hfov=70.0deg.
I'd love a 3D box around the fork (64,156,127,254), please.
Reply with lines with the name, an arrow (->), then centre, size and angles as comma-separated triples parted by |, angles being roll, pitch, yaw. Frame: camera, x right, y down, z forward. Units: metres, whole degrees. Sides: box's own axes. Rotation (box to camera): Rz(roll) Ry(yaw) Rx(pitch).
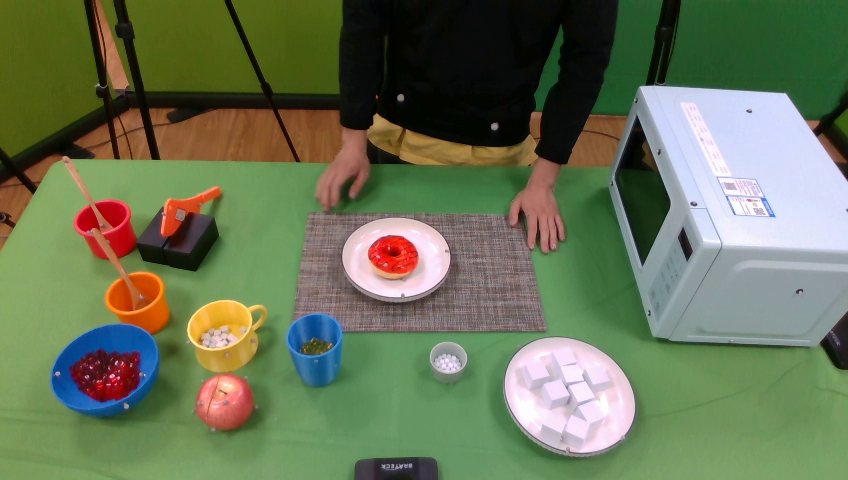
fork -> -0.614, -0.064, 1.130 | 0.028, 0.018, 0.207 | -29, 97, -16

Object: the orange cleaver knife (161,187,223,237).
orange cleaver knife -> -0.448, -0.058, 1.180 | 0.012, 0.077, 0.211 | 13, 17, 6

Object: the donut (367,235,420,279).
donut -> -0.057, 0.032, 1.132 | 0.099, 0.048, 0.098 | 3, 45, -3

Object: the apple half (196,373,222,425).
apple half -> -0.322, 0.239, 0.906 | 0.033, 0.081, 0.081 | 7, 46, 0

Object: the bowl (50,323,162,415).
bowl -> -0.472, 0.209, 0.924 | 0.151, 0.077, 0.150 | 3, 45, -2

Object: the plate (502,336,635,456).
plate -> 0.225, 0.248, 0.963 | 0.208, 0.039, 0.206 | 2, 46, -2

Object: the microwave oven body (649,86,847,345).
microwave oven body -> 0.568, -0.053, 1.118 | 0.326, 0.261, 0.439 | 2, 45, -1

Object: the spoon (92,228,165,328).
spoon -> -0.496, 0.063, 1.014 | 0.041, 0.194, 0.021 | -33, 12, -31

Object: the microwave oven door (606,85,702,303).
microwave oven door -> 0.423, -0.094, 1.140 | 0.039, 0.245, 0.353 | 2, 46, -1

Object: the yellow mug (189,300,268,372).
yellow mug -> -0.315, 0.148, 1.001 | 0.131, 0.064, 0.099 | -33, 55, -31

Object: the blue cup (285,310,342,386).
blue cup -> -0.170, 0.179, 0.958 | 0.093, 0.101, 0.092 | 2, 44, -1

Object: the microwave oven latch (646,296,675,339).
microwave oven latch -> 0.412, 0.134, 1.061 | 0.030, 0.029, 0.078 | 4, 45, 1

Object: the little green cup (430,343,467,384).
little green cup -> 0.039, 0.203, 0.994 | 0.061, 0.039, 0.061 | 2, 46, -2

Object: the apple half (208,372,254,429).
apple half -> -0.282, 0.244, 0.908 | 0.053, 0.075, 0.080 | 7, 43, -1

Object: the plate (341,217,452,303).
plate -> -0.052, 0.039, 1.140 | 0.209, 0.038, 0.208 | 2, 46, -2
